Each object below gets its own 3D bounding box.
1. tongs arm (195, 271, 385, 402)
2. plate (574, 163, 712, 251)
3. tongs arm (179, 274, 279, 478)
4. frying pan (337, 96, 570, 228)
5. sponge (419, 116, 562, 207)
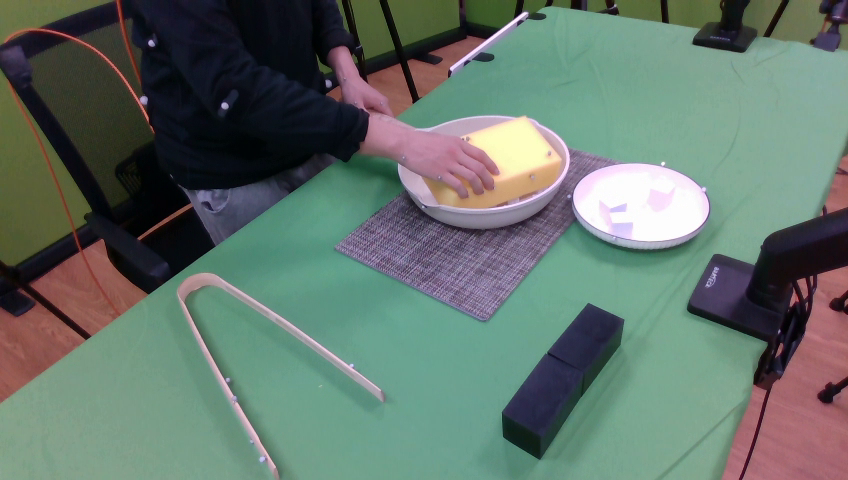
[{"bbox_3d":[-0.199,0.125,0.846,0.384,0.028,0.028,25,53,32],"label":"tongs arm"},{"bbox_3d":[0.344,-0.050,0.966,0.207,0.039,0.206,-4,40,4],"label":"plate"},{"bbox_3d":[-0.260,0.161,0.807,0.051,0.026,0.381,-29,44,-25],"label":"tongs arm"},{"bbox_3d":[0.023,-0.167,1.090,0.484,0.103,0.308,32,52,26],"label":"frying pan"},{"bbox_3d":[0.108,-0.123,1.005,0.208,0.061,0.117,-20,57,-20],"label":"sponge"}]
